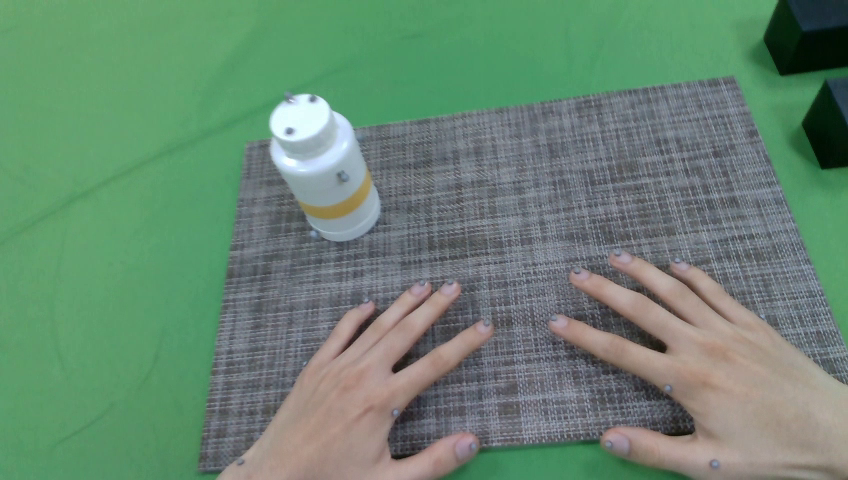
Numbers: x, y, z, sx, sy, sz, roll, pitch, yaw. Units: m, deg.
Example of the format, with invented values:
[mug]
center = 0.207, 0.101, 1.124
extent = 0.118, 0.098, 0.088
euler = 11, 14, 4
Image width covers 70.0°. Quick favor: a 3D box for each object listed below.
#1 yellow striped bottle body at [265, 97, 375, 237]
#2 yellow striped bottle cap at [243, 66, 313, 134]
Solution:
[yellow striped bottle body]
center = -0.080, -0.058, 0.468
extent = 0.063, 0.121, 0.062
euler = -4, 60, 8
[yellow striped bottle cap]
center = -0.097, -0.094, 0.405
extent = 0.044, 0.019, 0.044
euler = -4, 67, 10
